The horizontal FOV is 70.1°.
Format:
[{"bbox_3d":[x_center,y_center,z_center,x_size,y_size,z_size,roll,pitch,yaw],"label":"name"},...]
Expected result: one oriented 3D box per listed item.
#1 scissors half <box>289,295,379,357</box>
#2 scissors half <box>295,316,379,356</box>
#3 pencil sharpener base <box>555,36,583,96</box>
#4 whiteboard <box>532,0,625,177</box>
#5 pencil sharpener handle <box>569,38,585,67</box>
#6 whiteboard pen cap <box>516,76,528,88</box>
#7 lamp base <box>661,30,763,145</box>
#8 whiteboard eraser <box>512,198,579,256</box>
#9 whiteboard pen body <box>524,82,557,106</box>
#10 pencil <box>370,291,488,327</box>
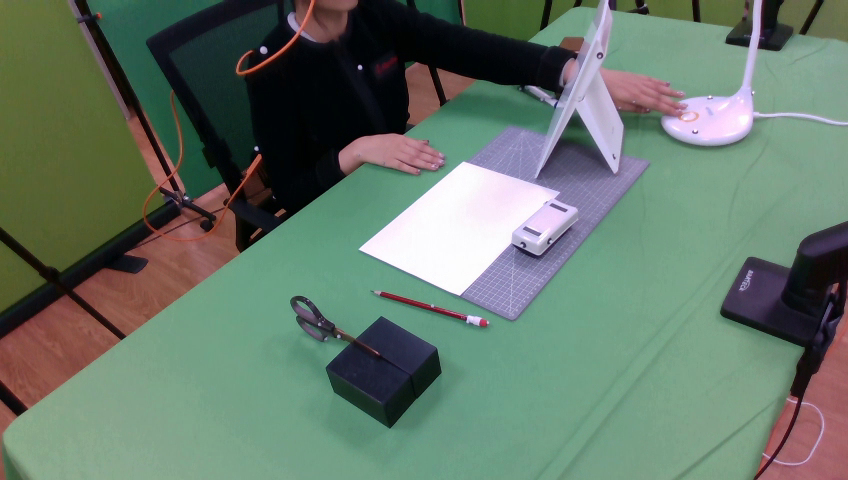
[{"bbox_3d":[-0.122,0.114,0.803,0.174,0.040,0.013,26,50,32],"label":"scissors half"},{"bbox_3d":[-0.119,0.132,0.813,0.174,0.040,0.013,9,34,45],"label":"scissors half"},{"bbox_3d":[0.318,-0.371,1.290,0.061,0.107,0.076,10,44,22],"label":"pencil sharpener base"},{"bbox_3d":[0.320,-0.258,1.050,0.144,0.306,0.217,21,45,5],"label":"whiteboard"},{"bbox_3d":[0.332,-0.413,1.317,0.036,0.068,0.030,20,46,12],"label":"pencil sharpener handle"},{"bbox_3d":[0.220,-0.354,1.352,0.018,0.018,0.033,-23,45,-15],"label":"whiteboard pen cap"},{"bbox_3d":[0.535,-0.287,1.096,0.179,0.181,0.159,-10,40,-4],"label":"lamp base"},{"bbox_3d":[0.191,-0.019,0.948,0.055,0.042,0.113,26,51,36],"label":"whiteboard eraser"},{"bbox_3d":[0.249,-0.321,1.313,0.017,0.017,0.139,-24,44,-17],"label":"whiteboard pen body"},{"bbox_3d":[0.003,0.097,0.877,0.193,0.012,0.012,13,45,26],"label":"pencil"}]
